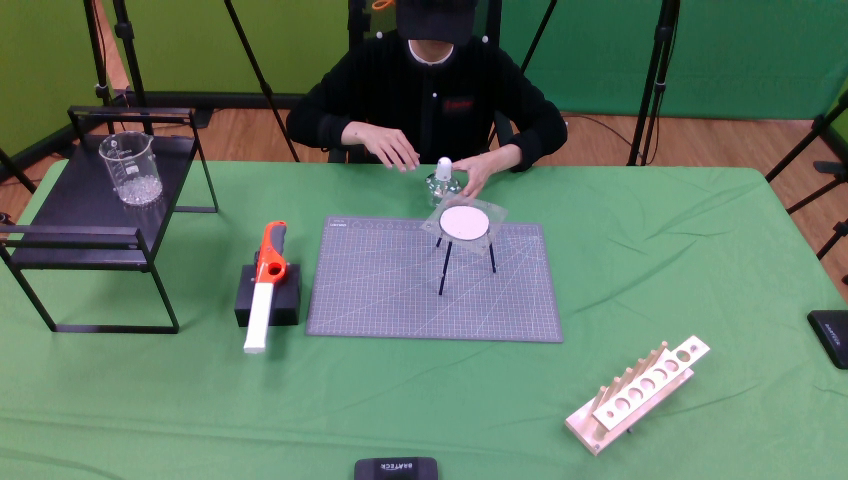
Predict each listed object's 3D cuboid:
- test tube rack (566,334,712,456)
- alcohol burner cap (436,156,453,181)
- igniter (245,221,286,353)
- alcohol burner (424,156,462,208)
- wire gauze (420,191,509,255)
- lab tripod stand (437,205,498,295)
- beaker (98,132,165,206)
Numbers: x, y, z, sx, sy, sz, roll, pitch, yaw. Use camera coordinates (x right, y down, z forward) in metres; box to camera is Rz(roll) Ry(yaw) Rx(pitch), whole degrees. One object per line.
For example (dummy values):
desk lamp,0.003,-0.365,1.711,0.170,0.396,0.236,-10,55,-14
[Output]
test tube rack,0.339,0.228,0.951,0.242,0.085,0.066,-26,52,-26
alcohol burner cap,0.043,-0.146,1.221,0.034,0.048,0.033,2,46,-2
igniter,-0.270,0.070,1.040,0.057,0.025,0.274,2,48,-6
alcohol burner,0.041,-0.124,1.244,0.078,0.119,0.077,3,46,-3
wire gauze,0.072,-0.035,1.058,0.125,0.011,0.121,21,48,18
lab tripod stand,0.066,0.010,1.107,0.148,0.132,0.147,0,46,0
beaker,-0.460,-0.112,0.968,0.073,0.101,0.084,37,54,28
